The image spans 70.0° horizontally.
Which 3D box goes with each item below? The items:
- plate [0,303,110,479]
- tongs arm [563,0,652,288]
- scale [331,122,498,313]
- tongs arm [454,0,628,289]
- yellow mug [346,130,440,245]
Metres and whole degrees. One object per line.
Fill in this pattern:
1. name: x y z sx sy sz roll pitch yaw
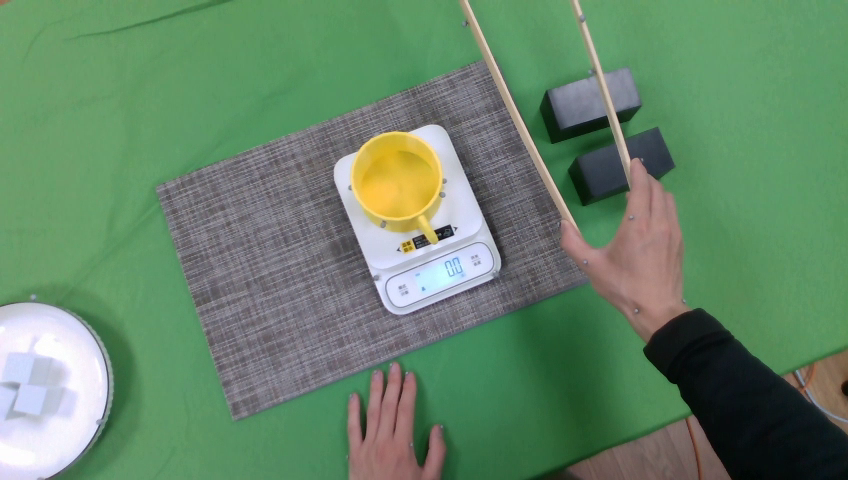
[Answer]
1. plate: -0.461 0.177 0.697 0.208 0.039 0.207 0 81 1
2. tongs arm: 0.160 -0.140 0.611 0.051 0.026 0.384 -20 89 2
3. scale: -0.012 -0.028 0.715 0.149 0.031 0.200 -22 82 -1
4. tongs arm: 0.105 -0.119 0.615 0.028 0.028 0.387 -27 88 -2
5. yellow mug: -0.024 -0.051 0.671 0.100 0.064 0.130 -32 83 -4
